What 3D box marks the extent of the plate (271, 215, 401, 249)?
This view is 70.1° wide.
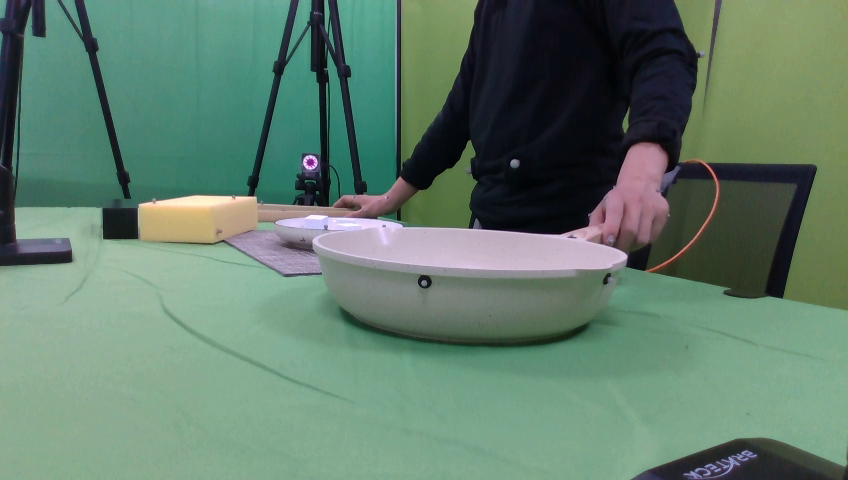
[{"bbox_3d":[-0.141,-0.012,0.978,0.208,0.039,0.207,3,7,0],"label":"plate"}]

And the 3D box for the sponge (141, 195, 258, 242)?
[{"bbox_3d":[-0.380,-0.040,1.047,0.118,0.061,0.207,1,8,3],"label":"sponge"}]

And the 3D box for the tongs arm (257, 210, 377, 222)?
[{"bbox_3d":[-0.280,-0.055,1.356,0.389,0.028,0.028,-1,6,-28],"label":"tongs arm"}]

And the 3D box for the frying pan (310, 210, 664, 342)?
[{"bbox_3d":[0.120,0.011,0.643,0.490,0.102,0.305,-14,16,-37],"label":"frying pan"}]

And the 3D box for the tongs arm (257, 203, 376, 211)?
[{"bbox_3d":[-0.305,-0.070,1.430,0.386,0.026,0.050,2,8,-15],"label":"tongs arm"}]
